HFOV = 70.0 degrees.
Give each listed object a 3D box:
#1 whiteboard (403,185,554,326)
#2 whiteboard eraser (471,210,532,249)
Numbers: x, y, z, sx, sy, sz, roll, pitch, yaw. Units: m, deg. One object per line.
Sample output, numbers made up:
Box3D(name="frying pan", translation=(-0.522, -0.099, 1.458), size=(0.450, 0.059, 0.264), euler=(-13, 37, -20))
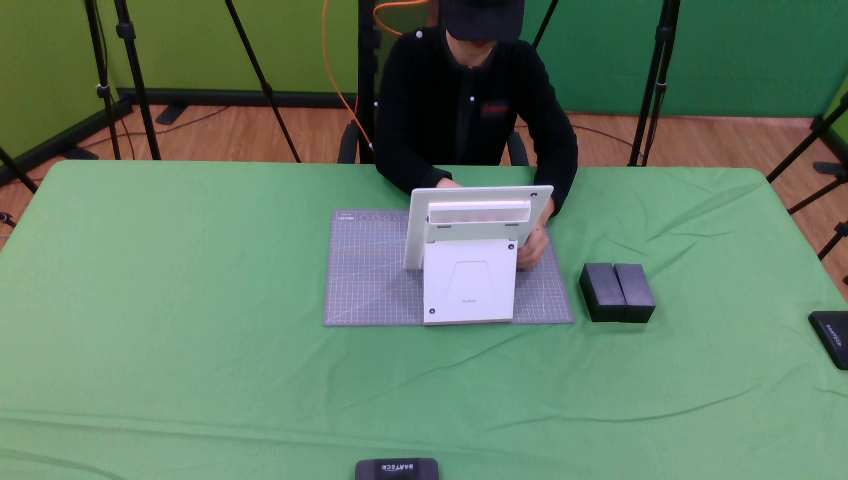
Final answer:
Box3D(name="whiteboard", translation=(0.081, 0.044, 1.005), size=(0.217, 0.306, 0.143), euler=(-1, 65, -5))
Box3D(name="whiteboard eraser", translation=(0.138, -0.015, 1.092), size=(0.056, 0.112, 0.041), euler=(7, 66, -34))
